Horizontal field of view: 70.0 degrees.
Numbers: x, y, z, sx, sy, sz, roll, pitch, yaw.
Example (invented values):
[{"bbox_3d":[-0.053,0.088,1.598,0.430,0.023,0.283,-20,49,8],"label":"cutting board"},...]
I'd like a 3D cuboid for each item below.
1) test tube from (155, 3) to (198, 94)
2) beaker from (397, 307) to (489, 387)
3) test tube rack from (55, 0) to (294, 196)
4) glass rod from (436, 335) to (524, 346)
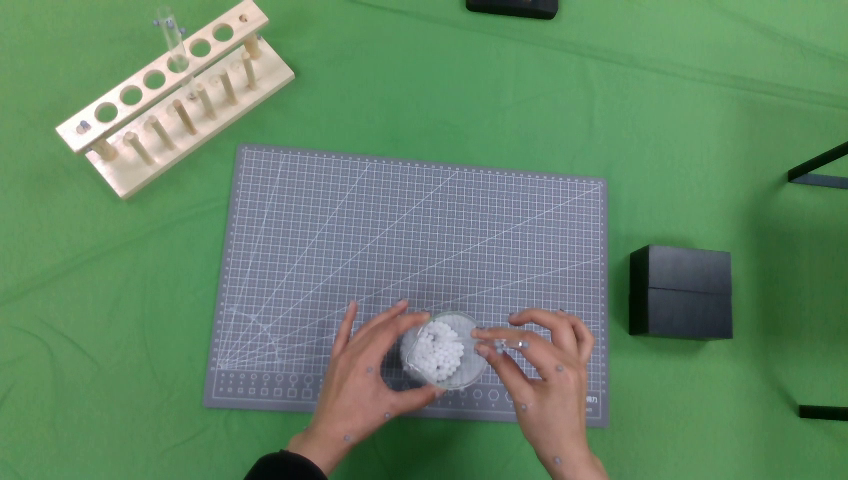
[{"bbox_3d":[-0.254,-0.193,0.628,0.017,0.150,0.017,3,74,-10],"label":"test tube"},{"bbox_3d":[0.012,0.111,0.616,0.084,0.100,0.073,-11,82,-15],"label":"beaker"},{"bbox_3d":[-0.264,-0.158,0.670,0.242,0.085,0.066,-40,85,-13],"label":"test tube rack"},{"bbox_3d":[0.045,0.093,0.565,0.008,0.199,0.008,3,81,-18],"label":"glass rod"}]
